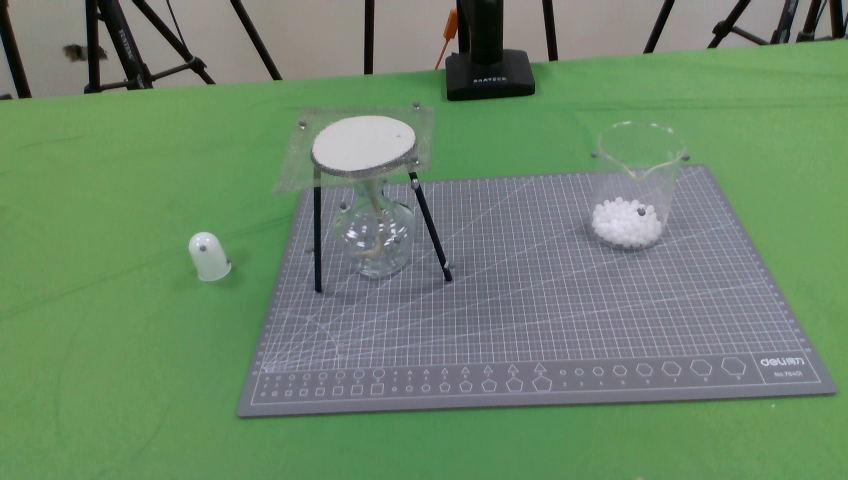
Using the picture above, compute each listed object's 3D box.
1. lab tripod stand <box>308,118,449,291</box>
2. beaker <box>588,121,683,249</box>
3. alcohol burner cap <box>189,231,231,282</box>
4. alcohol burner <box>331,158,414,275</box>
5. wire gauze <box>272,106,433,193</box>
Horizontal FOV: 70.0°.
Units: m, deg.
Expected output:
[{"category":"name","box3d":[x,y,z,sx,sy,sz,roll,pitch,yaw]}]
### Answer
[{"category":"lab tripod stand","box3d":[-0.048,-0.033,0.546,0.148,0.133,0.147,-4,40,4]},{"category":"beaker","box3d":[0.191,-0.046,0.560,0.074,0.101,0.083,6,43,15]},{"category":"alcohol burner cap","box3d":[-0.209,0.013,0.586,0.034,0.048,0.033,-2,42,2]},{"category":"alcohol burner","box3d":[-0.048,-0.025,0.551,0.078,0.120,0.077,-2,42,2]},{"category":"wire gauze","box3d":[-0.054,-0.081,0.498,0.121,0.011,0.124,-3,40,4]}]
